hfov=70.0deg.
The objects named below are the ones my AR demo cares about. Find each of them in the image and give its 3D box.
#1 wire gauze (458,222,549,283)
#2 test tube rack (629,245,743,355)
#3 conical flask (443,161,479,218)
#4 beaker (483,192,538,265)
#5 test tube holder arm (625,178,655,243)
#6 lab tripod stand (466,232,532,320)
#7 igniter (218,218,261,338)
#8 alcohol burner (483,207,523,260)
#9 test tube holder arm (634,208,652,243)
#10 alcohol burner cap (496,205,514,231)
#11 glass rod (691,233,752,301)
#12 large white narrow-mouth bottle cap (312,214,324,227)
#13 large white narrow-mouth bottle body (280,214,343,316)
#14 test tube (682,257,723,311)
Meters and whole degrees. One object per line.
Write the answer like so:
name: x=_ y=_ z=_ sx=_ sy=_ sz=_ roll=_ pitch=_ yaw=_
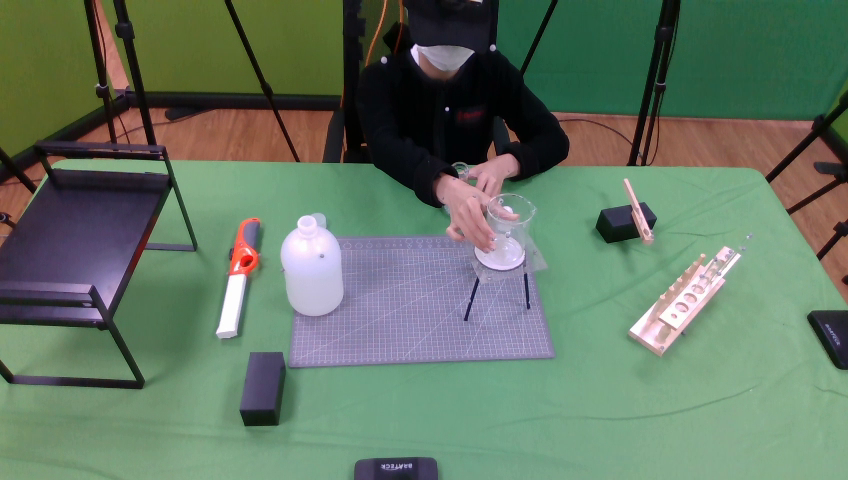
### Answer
wire gauze: x=0.131 y=0.016 z=1.017 sx=0.121 sy=0.011 sz=0.124 roll=-10 pitch=44 yaw=-15
test tube rack: x=0.474 y=0.095 z=1.091 sx=0.242 sy=0.085 sz=0.066 roll=-34 pitch=56 yaw=-31
conical flask: x=0.075 y=-0.107 z=1.229 sx=0.075 sy=0.122 sz=0.075 roll=-2 pitch=55 yaw=3
beaker: x=0.136 y=-0.017 z=0.980 sx=0.084 sy=0.101 sz=0.073 roll=-6 pitch=45 yaw=-9
test tube holder arm: x=0.433 y=-0.062 z=1.220 sx=0.013 sy=0.015 sz=0.177 roll=2 pitch=47 yaw=-3
lab tripod stand: x=0.125 y=0.059 z=1.065 sx=0.148 sy=0.132 sz=0.147 roll=1 pitch=45 yaw=0
igniter: x=-0.336 y=0.060 z=1.111 sx=0.057 sy=0.025 sz=0.274 roll=-7 pitch=46 yaw=4
alcohol burner: x=0.152 y=-0.018 z=1.156 sx=0.078 sy=0.120 sz=0.077 roll=0 pitch=47 yaw=0
test tube holder arm: x=0.428 y=-0.030 z=1.189 sx=0.010 sy=0.015 sz=0.087 roll=2 pitch=47 yaw=-3
alcohol burner cap: x=0.153 y=-0.044 z=1.131 sx=0.034 sy=0.048 sz=0.033 roll=2 pitch=40 yaw=-1
glass rod: x=0.508 y=0.053 z=1.041 sx=0.008 sy=0.200 sz=0.008 roll=5 pitch=50 yaw=-6
large white narrow-mouth bottle cap: x=-0.219 y=-0.033 z=1.214 sx=0.038 sy=0.024 sz=0.037 roll=2 pitch=46 yaw=-2
large white narrow-mouth bottle body: x=-0.190 y=0.035 z=1.025 sx=0.102 sy=0.195 sz=0.101 roll=2 pitch=46 yaw=-2
test tube: x=0.475 y=0.080 z=1.037 sx=0.017 sy=0.151 sz=0.017 roll=1 pitch=51 yaw=-1
